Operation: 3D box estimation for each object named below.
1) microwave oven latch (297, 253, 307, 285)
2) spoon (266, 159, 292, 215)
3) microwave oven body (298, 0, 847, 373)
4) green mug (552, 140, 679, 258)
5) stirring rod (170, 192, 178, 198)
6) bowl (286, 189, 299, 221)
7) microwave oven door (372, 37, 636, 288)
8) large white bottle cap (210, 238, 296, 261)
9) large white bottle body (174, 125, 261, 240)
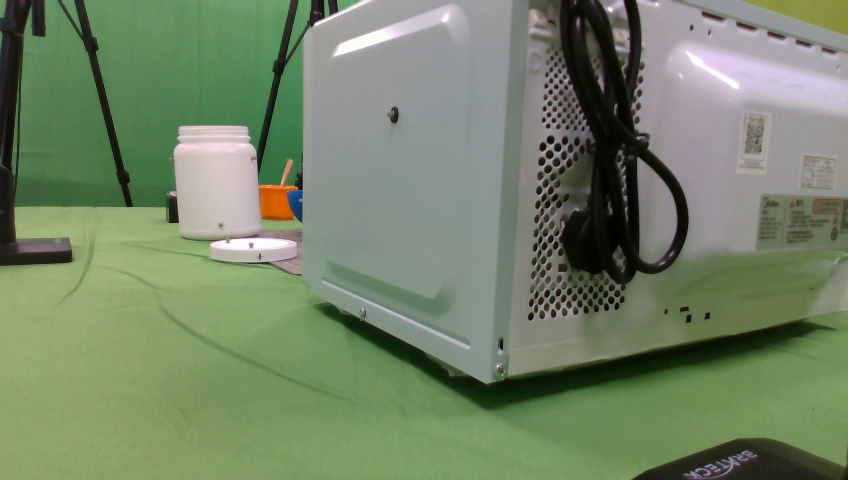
[{"bbox_3d":[-0.082,0.027,0.582,0.079,0.029,0.030,-1,7,-33],"label":"microwave oven latch"},{"bbox_3d":[-0.334,-0.127,1.423,0.041,0.193,0.022,0,-38,7],"label":"spoon"},{"bbox_3d":[0.151,-0.055,0.543,0.444,0.260,0.324,-1,7,-33],"label":"microwave oven body"},{"bbox_3d":[0.179,-0.037,0.582,0.124,0.105,0.093,2,2,44],"label":"green mug"},{"bbox_3d":[-0.466,-0.098,1.283,0.014,0.006,0.177,42,21,17],"label":"stirring rod"},{"bbox_3d":[-0.179,-0.051,1.115,0.151,0.077,0.151,3,8,0],"label":"bowl"},{"bbox_3d":[0.109,-0.080,0.686,0.358,0.243,0.039,-2,9,-33],"label":"microwave oven door"},{"bbox_3d":[-0.236,0.012,0.839,0.115,0.018,0.115,2,7,0],"label":"large white bottle cap"},{"bbox_3d":[-0.349,-0.100,1.024,0.131,0.184,0.130,-1,9,0],"label":"large white bottle body"}]
